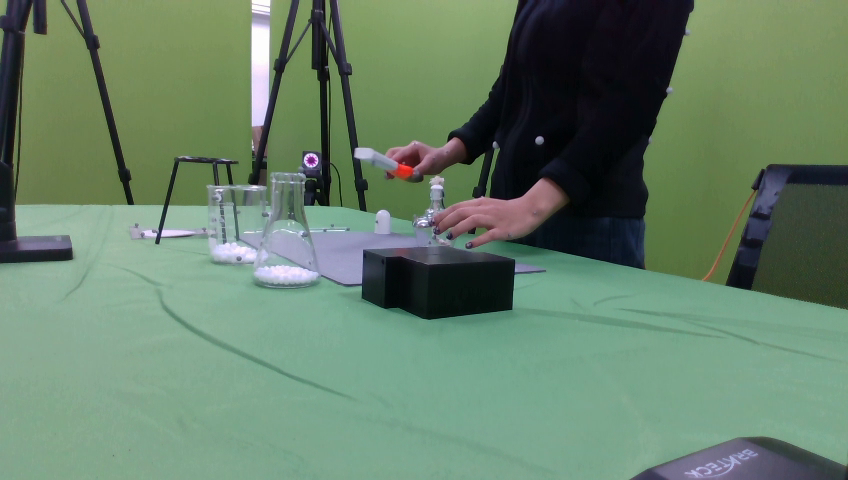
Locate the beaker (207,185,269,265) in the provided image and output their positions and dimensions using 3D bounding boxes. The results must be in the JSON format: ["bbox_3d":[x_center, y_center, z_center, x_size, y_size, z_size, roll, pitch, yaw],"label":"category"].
[{"bbox_3d":[-0.244,-0.021,0.784,0.083,0.100,0.074,6,8,30],"label":"beaker"}]

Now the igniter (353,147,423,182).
[{"bbox_3d":[-0.061,-0.138,1.130,0.057,0.025,0.277,7,-1,18],"label":"igniter"}]

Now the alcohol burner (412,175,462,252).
[{"bbox_3d":[0.020,-0.041,0.948,0.078,0.119,0.078,0,7,0],"label":"alcohol burner"}]

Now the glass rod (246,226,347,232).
[{"bbox_3d":[-0.236,-0.021,1.140,0.201,0.008,0.008,-2,8,-33],"label":"glass rod"}]

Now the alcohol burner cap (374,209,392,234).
[{"bbox_3d":[-0.078,-0.036,1.148,0.034,0.048,0.034,1,6,0],"label":"alcohol burner cap"}]

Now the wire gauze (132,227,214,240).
[{"bbox_3d":[-0.425,-0.013,1.018,0.122,0.011,0.124,-1,6,-28],"label":"wire gauze"}]

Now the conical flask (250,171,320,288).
[{"bbox_3d":[-0.150,-0.013,0.658,0.075,0.122,0.075,2,7,0],"label":"conical flask"}]

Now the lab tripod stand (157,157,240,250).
[{"bbox_3d":[-0.322,-0.057,0.905,0.148,0.131,0.148,4,7,0],"label":"lab tripod stand"}]
